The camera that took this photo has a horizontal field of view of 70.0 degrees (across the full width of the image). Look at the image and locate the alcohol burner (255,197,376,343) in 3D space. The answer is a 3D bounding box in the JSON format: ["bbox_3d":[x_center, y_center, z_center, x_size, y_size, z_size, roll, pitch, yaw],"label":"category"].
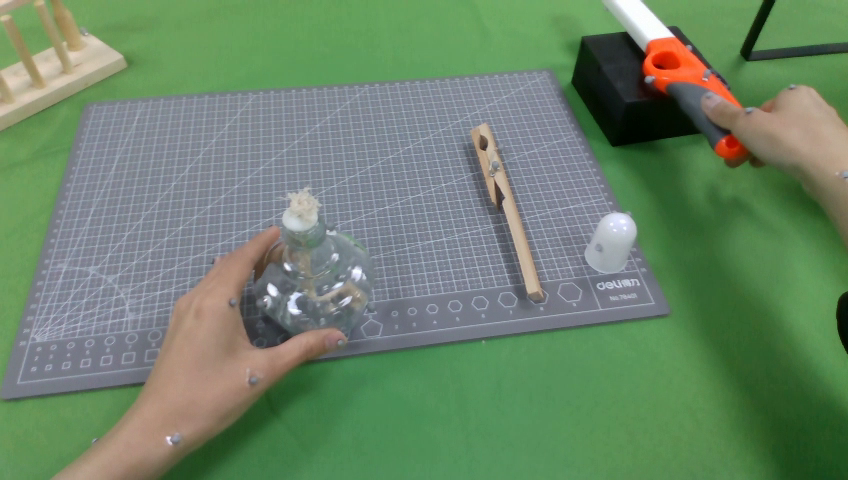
[{"bbox_3d":[-0.070,0.014,0.383,0.078,0.120,0.077,1,52,0],"label":"alcohol burner"}]

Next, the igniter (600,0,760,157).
[{"bbox_3d":[0.215,-0.167,0.540,0.057,0.025,0.273,-10,50,-7],"label":"igniter"}]

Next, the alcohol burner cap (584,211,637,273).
[{"bbox_3d":[0.140,-0.001,0.449,0.034,0.048,0.033,1,49,-1],"label":"alcohol burner cap"}]

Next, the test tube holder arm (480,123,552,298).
[{"bbox_3d":[0.070,-0.030,0.485,0.013,0.015,0.176,-31,50,20],"label":"test tube holder arm"}]

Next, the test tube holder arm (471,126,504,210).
[{"bbox_3d":[0.056,-0.062,0.514,0.010,0.015,0.087,-30,50,20],"label":"test tube holder arm"}]

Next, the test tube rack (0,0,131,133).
[{"bbox_3d":[-0.393,-0.145,0.523,0.066,0.086,0.242,34,57,23],"label":"test tube rack"}]
